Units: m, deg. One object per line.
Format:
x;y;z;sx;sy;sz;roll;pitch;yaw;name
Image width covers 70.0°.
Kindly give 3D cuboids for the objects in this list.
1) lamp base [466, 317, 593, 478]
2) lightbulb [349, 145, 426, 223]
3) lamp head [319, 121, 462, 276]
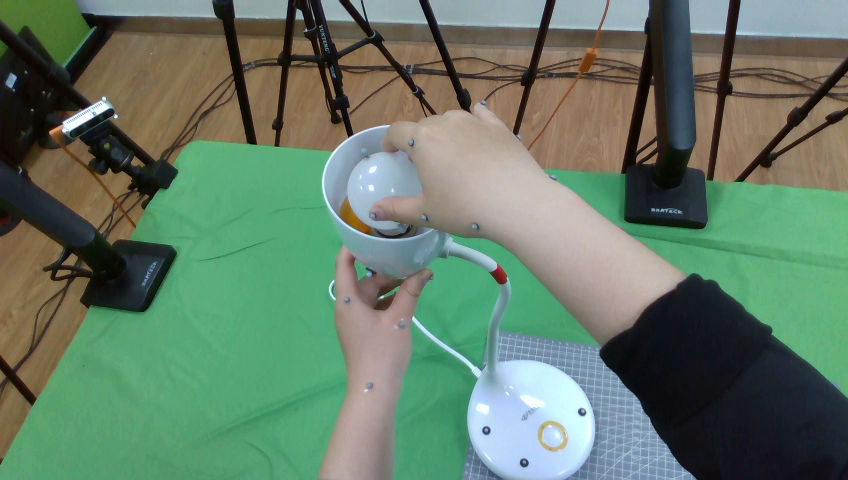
0.114;0.171;0.716;0.177;0.182;0.160;30;63;28;lamp base
-0.024;-0.038;0.491;0.059;0.108;0.059;-3;75;11;lightbulb
-0.022;-0.021;0.514;0.112;0.124;0.111;-2;59;4;lamp head
